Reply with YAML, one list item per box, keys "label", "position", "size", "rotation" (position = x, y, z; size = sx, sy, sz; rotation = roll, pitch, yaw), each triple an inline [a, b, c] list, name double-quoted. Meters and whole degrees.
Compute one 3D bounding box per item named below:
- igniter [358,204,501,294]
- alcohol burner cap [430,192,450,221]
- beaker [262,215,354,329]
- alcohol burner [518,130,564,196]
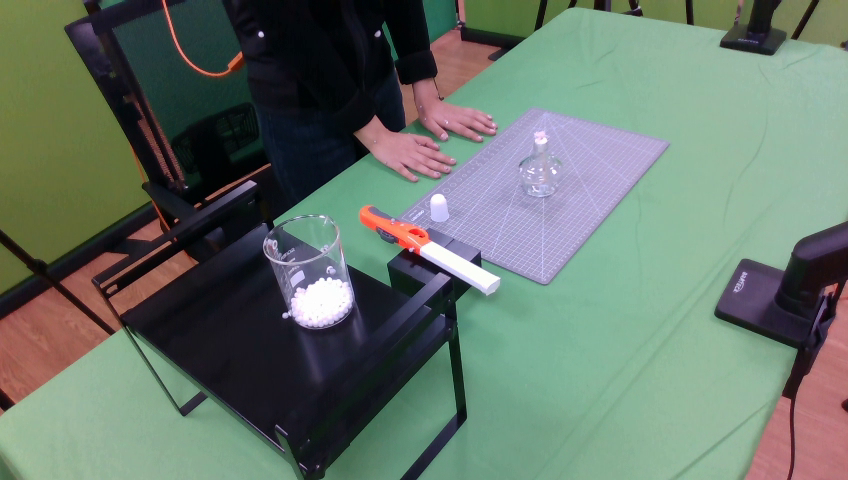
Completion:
- label: "igniter"
  position: [-0.004, 0.006, 0.892]
  size: [0.274, 0.025, 0.057]
  rotation: [29, 41, 34]
- label: "alcohol burner cap"
  position: [0.025, -0.059, 1.020]
  size: [0.034, 0.048, 0.033]
  rotation: [-4, 41, 4]
- label: "beaker"
  position: [-0.112, 0.034, 0.616]
  size: [0.073, 0.101, 0.084]
  rotation: [13, 44, 23]
- label: "alcohol burner"
  position: [0.199, -0.135, 1.027]
  size: [0.078, 0.119, 0.077]
  rotation: [-5, 42, 5]
